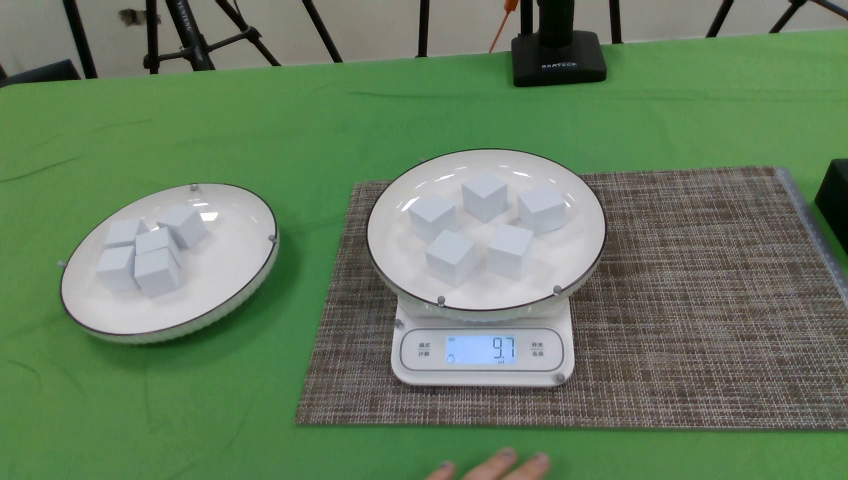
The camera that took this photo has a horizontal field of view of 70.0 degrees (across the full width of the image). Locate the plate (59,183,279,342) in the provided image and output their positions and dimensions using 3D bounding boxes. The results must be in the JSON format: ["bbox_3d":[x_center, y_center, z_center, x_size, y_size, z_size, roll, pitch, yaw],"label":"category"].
[{"bbox_3d":[-0.245,0.022,0.601,0.209,0.038,0.207,-4,44,4],"label":"plate"}]

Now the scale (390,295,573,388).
[{"bbox_3d":[0.051,0.039,0.540,0.148,0.032,0.199,-1,45,8],"label":"scale"}]

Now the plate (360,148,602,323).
[{"bbox_3d":[0.049,-0.005,0.537,0.207,0.039,0.205,-3,45,4],"label":"plate"}]
